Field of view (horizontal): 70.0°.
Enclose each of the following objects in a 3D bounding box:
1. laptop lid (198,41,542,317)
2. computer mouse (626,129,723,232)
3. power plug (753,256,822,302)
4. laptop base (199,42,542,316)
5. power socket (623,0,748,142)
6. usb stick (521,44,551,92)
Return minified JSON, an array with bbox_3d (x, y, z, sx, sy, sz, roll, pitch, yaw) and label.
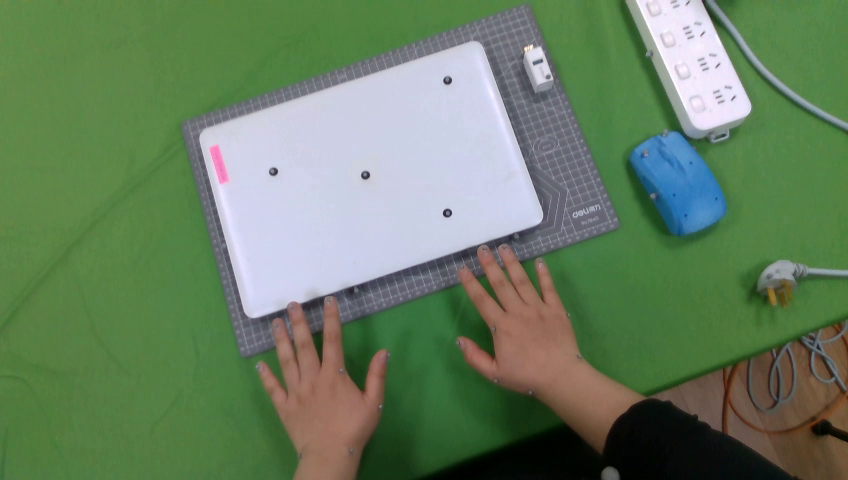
[{"bbox_3d":[-0.068,-0.074,0.693,0.357,0.013,0.240,-17,79,1],"label":"laptop lid"},{"bbox_3d":[0.276,-0.068,0.668,0.063,0.041,0.116,-24,73,1],"label":"computer mouse"},{"bbox_3d":[0.384,0.040,0.632,0.072,0.035,0.052,-4,55,14],"label":"power plug"},{"bbox_3d":[-0.067,-0.074,0.705,0.354,0.023,0.234,-19,80,0],"label":"laptop base"},{"bbox_3d":[0.298,-0.222,0.701,0.072,0.033,0.225,-18,77,1],"label":"power socket"},{"bbox_3d":[0.129,-0.207,0.711,0.021,0.027,0.059,-19,75,4],"label":"usb stick"}]
